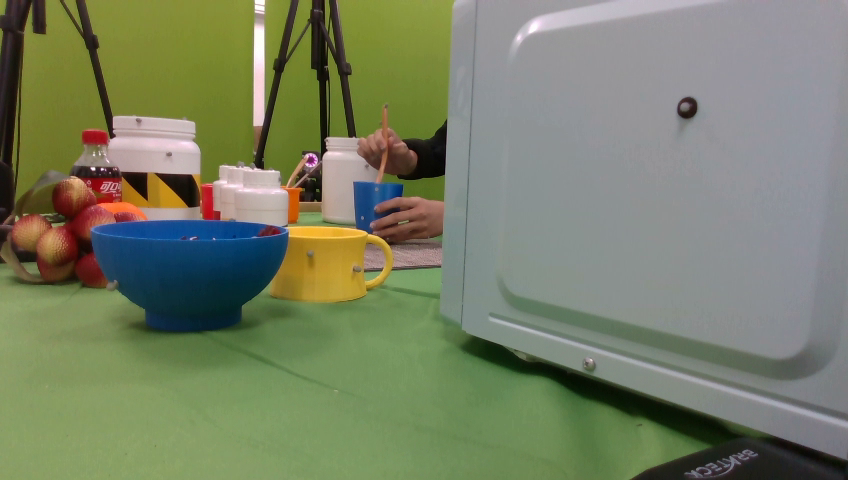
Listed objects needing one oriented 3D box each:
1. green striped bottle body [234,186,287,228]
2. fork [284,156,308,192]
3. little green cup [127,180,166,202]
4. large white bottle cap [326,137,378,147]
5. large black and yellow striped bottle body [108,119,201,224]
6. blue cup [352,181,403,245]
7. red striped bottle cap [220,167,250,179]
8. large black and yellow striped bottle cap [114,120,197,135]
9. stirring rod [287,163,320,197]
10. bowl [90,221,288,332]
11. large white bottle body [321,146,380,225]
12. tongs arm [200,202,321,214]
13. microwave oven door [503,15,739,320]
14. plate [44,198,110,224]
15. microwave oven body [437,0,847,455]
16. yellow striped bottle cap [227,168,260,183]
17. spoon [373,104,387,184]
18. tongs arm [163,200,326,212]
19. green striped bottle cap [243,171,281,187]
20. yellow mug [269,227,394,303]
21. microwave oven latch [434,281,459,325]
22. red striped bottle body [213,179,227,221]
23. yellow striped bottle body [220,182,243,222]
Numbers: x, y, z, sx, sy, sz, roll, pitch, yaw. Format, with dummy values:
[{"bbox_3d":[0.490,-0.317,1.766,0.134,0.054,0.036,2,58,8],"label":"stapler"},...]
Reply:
[{"bbox_3d":[-0.200,-0.023,0.743,0.063,0.119,0.063,2,7,0],"label":"green striped bottle body"},{"bbox_3d":[-0.295,-0.116,1.323,0.028,0.019,0.207,1,50,21],"label":"fork"},{"bbox_3d":[-0.485,-0.087,1.061,0.061,0.038,0.061,0,6,0],"label":"little green cup"},{"bbox_3d":[-0.158,-0.214,1.329,0.115,0.018,0.115,2,8,0],"label":"large white bottle cap"},{"bbox_3d":[-0.412,-0.088,0.930,0.131,0.184,0.130,3,7,0],"label":"large black and yellow striped bottle body"},{"bbox_3d":[-0.081,-0.045,1.013,0.093,0.100,0.092,4,7,0],"label":"blue cup"},{"bbox_3d":[-0.281,-0.100,0.901,0.044,0.017,0.044,-1,5,0],"label":"red striped bottle cap"},{"bbox_3d":[-0.407,-0.171,0.920,0.115,0.019,0.115,2,9,0],"label":"large black and yellow striped bottle cap"},{"bbox_3d":[-0.283,-0.107,1.298,0.014,0.006,0.176,10,53,50],"label":"stirring rod"},{"bbox_3d":[-0.190,0.029,0.500,0.151,0.077,0.151,3,7,0],"label":"bowl"},{"bbox_3d":[-0.162,-0.131,1.340,0.131,0.184,0.130,2,8,0],"label":"large white bottle body"},{"bbox_3d":[-0.380,-0.076,1.420,0.387,0.026,0.050,-4,5,-42],"label":"tongs arm"},{"bbox_3d":[0.218,-0.065,0.600,0.358,0.243,0.039,-4,10,-41],"label":"microwave oven door"},{"bbox_3d":[-0.617,-0.056,1.179,0.209,0.038,0.209,3,7,0],"label":"plate"},{"bbox_3d":[0.279,-0.040,0.465,0.444,0.260,0.324,-3,9,-41],"label":"microwave oven body"},{"bbox_3d":[-0.243,-0.087,0.818,0.044,0.018,0.044,3,6,0],"label":"yellow striped bottle cap"},{"bbox_3d":[-0.072,-0.135,1.013,0.022,0.193,0.041,8,-10,-9],"label":"spoon"},{"bbox_3d":[-0.433,-0.083,1.490,0.389,0.027,0.028,-1,0,-27],"label":"tongs arm"},{"bbox_3d":[-0.198,-0.074,0.736,0.044,0.020,0.044,1,8,0],"label":"green striped bottle cap"},{"bbox_3d":[-0.094,0.023,0.629,0.131,0.064,0.099,0,7,-22],"label":"yellow mug"},{"bbox_3d":[0.044,0.045,0.470,0.079,0.029,0.030,-2,8,-39],"label":"microwave oven latch"},{"bbox_3d":[-0.284,-0.048,0.910,0.063,0.119,0.063,3,12,0],"label":"red striped bottle body"},{"bbox_3d":[-0.245,-0.036,0.825,0.063,0.120,0.063,3,8,0],"label":"yellow striped bottle body"}]
